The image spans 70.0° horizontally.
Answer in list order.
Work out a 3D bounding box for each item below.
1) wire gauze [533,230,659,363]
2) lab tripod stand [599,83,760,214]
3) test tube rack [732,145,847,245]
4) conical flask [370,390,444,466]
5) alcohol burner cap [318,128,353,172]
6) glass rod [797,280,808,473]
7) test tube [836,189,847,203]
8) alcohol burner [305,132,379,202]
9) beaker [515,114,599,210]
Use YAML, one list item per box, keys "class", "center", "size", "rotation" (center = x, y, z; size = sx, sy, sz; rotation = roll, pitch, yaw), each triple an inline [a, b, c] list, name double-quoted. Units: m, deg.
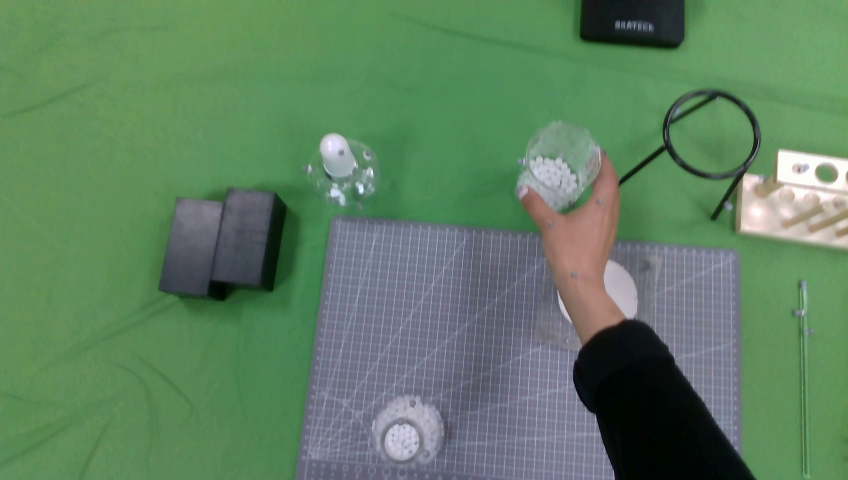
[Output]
- class: "wire gauze"
  center: [0.185, 0.059, 0.651]
  size: [0.125, 0.011, 0.121]
  rotation: [13, 78, 1]
- class: "lab tripod stand"
  center: [0.263, -0.088, 0.620]
  size: [0.148, 0.132, 0.148]
  rotation: [0, 80, 2]
- class: "test tube rack"
  center: [0.465, -0.036, 0.631]
  size: [0.242, 0.085, 0.066]
  rotation: [9, 78, 3]
- class: "conical flask"
  center: [-0.018, 0.180, 0.569]
  size: [0.075, 0.122, 0.075]
  rotation: [0, 77, 1]
- class: "alcohol burner cap"
  center: [-0.089, -0.092, 0.597]
  size: [0.034, 0.048, 0.033]
  rotation: [0, 72, 0]
- class: "glass rod"
  center: [0.396, 0.140, 0.634]
  size: [0.008, 0.008, 0.199]
  rotation: [6, 78, 2]
- class: "test tube"
  center: [0.450, -0.063, 0.587]
  size: [0.017, 0.151, 0.017]
  rotation: [-1, 77, 4]
- class: "alcohol burner"
  center: [-0.088, -0.082, 0.632]
  size: [0.078, 0.119, 0.077]
  rotation: [0, 79, 3]
- class: "beaker"
  center: [0.136, -0.074, 0.636]
  size: [0.074, 0.100, 0.083]
  rotation: [-13, 78, -1]
